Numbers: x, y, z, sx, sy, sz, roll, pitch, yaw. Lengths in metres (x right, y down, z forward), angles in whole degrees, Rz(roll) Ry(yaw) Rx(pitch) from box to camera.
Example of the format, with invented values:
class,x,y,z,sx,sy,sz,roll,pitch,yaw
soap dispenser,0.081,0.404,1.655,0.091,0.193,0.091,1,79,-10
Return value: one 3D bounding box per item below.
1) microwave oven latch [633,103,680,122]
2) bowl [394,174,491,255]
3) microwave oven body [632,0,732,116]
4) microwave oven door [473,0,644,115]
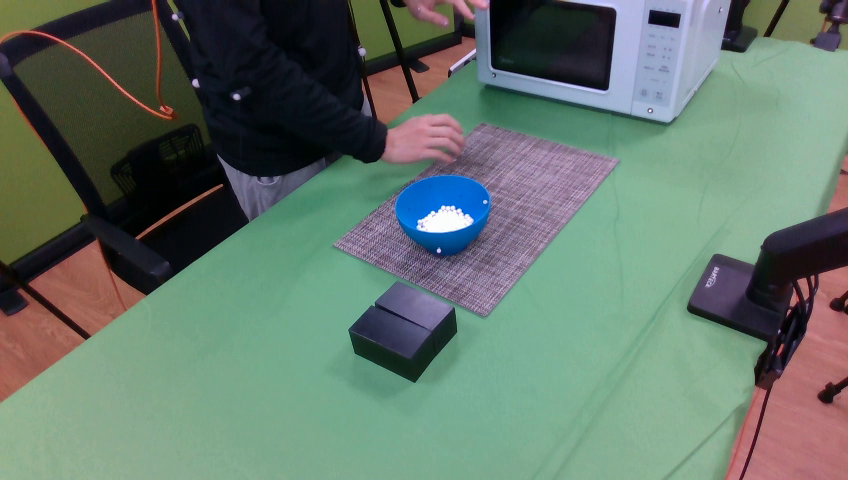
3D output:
class,x,y,z,sx,sy,sz,roll,pitch,yaw
microwave oven latch,0.443,-0.249,1.157,0.078,0.029,0.030,20,48,30
bowl,0.032,-0.030,0.949,0.151,0.077,0.150,-4,40,4
microwave oven body,0.377,-0.462,1.267,0.438,0.261,0.327,21,48,30
microwave oven door,0.257,-0.396,1.199,0.353,0.245,0.039,21,48,29
